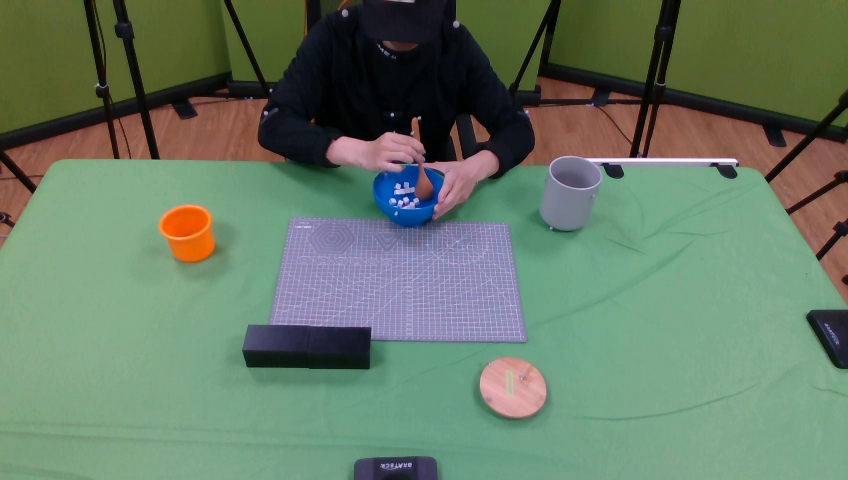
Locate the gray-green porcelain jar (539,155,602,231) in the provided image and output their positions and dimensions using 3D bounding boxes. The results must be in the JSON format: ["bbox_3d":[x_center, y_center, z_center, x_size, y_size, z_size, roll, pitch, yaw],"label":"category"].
[{"bbox_3d":[0.294,-0.091,1.235,0.106,0.127,0.105,2,46,-2],"label":"gray-green porcelain jar"}]

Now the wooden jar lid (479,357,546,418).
[{"bbox_3d":[0.142,0.240,0.979,0.108,0.021,0.107,1,46,-1],"label":"wooden jar lid"}]

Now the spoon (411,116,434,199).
[{"bbox_3d":[-0.009,-0.157,1.188,0.041,0.195,0.021,-7,37,2],"label":"spoon"}]

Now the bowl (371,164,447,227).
[{"bbox_3d":[-0.032,-0.080,1.230,0.151,0.077,0.150,3,43,-2],"label":"bowl"}]
